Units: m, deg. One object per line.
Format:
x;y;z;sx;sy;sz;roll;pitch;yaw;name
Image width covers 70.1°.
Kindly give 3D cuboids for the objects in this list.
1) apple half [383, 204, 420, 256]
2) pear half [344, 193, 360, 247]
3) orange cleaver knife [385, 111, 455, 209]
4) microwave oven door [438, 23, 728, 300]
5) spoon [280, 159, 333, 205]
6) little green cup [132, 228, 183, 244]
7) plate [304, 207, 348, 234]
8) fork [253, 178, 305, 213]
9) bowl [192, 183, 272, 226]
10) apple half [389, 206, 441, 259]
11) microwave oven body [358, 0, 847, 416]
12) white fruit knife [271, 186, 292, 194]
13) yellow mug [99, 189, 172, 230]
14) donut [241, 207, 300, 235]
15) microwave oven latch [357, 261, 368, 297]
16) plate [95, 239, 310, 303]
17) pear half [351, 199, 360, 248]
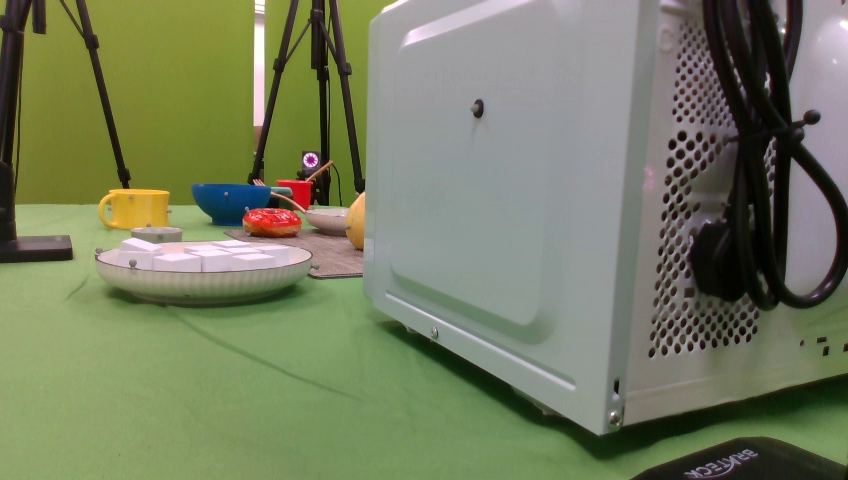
-0.038;-0.016;0.858;0.032;0.081;0.081;14;12;30;apple half
-0.104;-0.033;0.928;0.031;0.088;0.070;5;13;18;pear half
-0.002;-0.100;0.890;0.012;0.077;0.212;-4;-37;27;orange cleaver knife
0.181;-0.072;0.621;0.358;0.243;0.039;-2;8;-29;microwave oven door
-0.316;-0.158;1.639;0.194;0.022;0.041;-49;31;-20;spoon
-0.342;0.006;0.779;0.061;0.038;0.061;2;8;0;little green cup
-0.123;-0.037;1.149;0.209;0.038;0.209;2;7;0;plate
-0.294;-0.084;1.293;0.206;0.018;0.028;29;12;26;fork
-0.381;-0.071;1.202;0.151;0.077;0.151;3;7;0;bowl
-0.005;-0.009;0.839;0.053;0.074;0.081;14;6;30;apple half
0.211;-0.047;0.475;0.444;0.260;0.324;-1;7;-28;microwave oven body
-0.399;-0.111;1.368;0.208;0.016;0.027;-4;-19;-29;white fruit knife
-0.518;-0.055;1.080;0.099;0.064;0.131;7;10;26;yellow mug
-0.263;-0.031;1.039;0.099;0.048;0.099;4;10;0;donut
-0.019;0.033;0.531;0.079;0.029;0.030;-1;7;-27;microwave oven latch
-0.224;0.031;0.629;0.208;0.039;0.207;2;8;0;plate
-0.071;-0.040;0.915;0.056;0.110;0.076;4;12;18;pear half
